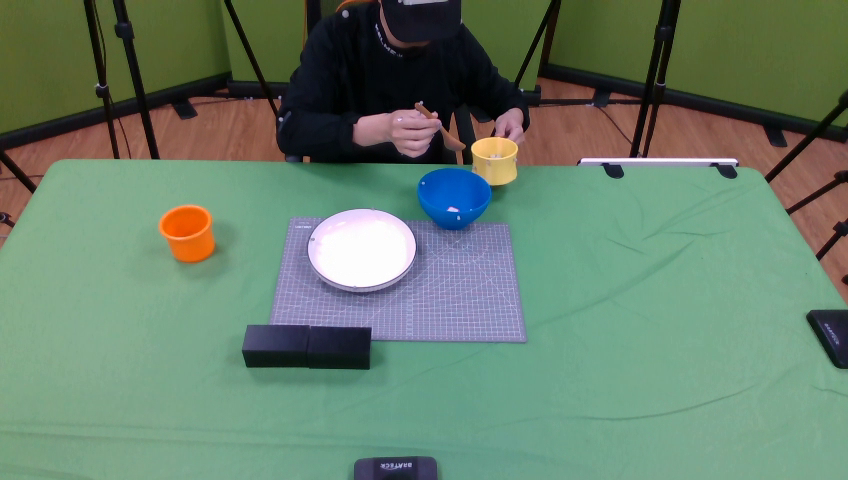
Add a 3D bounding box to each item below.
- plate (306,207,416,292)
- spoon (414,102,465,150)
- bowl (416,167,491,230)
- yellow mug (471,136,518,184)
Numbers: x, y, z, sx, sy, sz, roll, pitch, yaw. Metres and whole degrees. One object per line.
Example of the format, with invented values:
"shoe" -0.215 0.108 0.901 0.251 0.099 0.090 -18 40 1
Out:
"plate" -0.119 0.021 1.153 0.209 0.038 0.208 2 46 -2
"spoon" 0.027 -0.218 1.173 0.041 0.195 0.021 0 68 30
"bowl" 0.057 -0.074 1.232 0.151 0.077 0.150 3 42 -2
"yellow mug" 0.154 -0.182 1.316 0.100 0.064 0.130 5 37 12
